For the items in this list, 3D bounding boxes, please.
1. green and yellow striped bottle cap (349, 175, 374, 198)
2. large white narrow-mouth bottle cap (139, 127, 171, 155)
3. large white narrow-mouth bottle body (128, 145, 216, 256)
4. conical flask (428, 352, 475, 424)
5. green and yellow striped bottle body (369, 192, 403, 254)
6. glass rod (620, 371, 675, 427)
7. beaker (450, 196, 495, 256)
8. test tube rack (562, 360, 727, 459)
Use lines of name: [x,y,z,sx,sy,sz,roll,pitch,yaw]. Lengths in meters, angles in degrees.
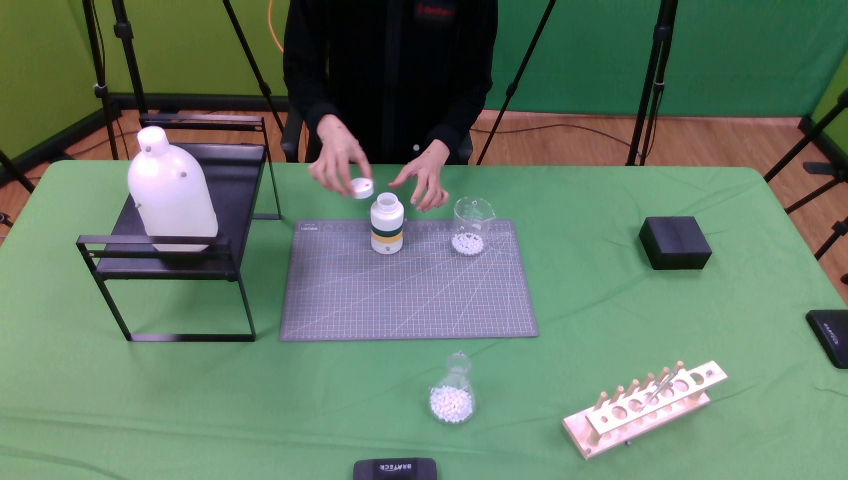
green and yellow striped bottle cap: [-0.112,-0.096,1.087,0.045,0.020,0.045,0,46,0]
large white narrow-mouth bottle cap: [-0.359,-0.132,0.807,0.038,0.024,0.037,3,47,-3]
large white narrow-mouth bottle body: [-0.366,-0.073,0.872,0.102,0.195,0.101,3,47,-3]
conical flask: [0.046,0.220,0.920,0.075,0.122,0.075,2,46,-2]
green and yellow striped bottle body: [-0.072,-0.035,1.153,0.063,0.120,0.063,2,46,-2]
glass rod: [0.316,0.230,0.863,0.008,0.200,0.008,3,54,-3]
beaker: [0.091,-0.024,1.170,0.084,0.101,0.073,15,48,10]
test tube rack: [0.341,0.247,0.940,0.243,0.085,0.066,-16,49,-18]
